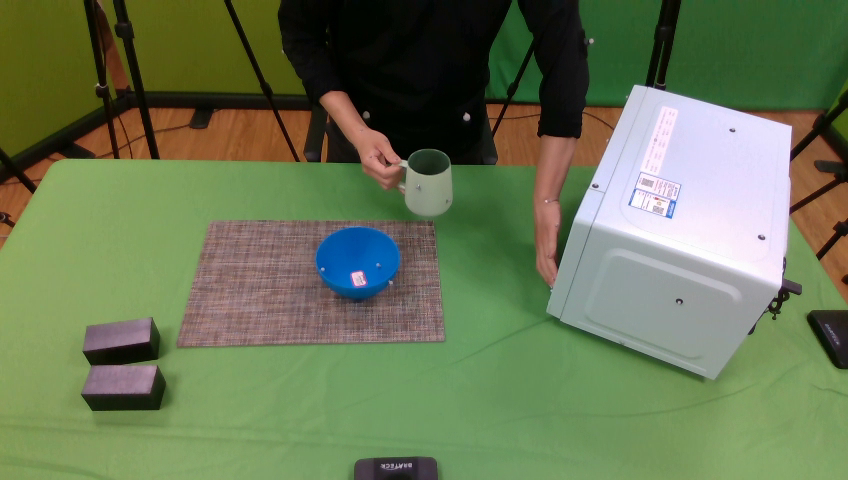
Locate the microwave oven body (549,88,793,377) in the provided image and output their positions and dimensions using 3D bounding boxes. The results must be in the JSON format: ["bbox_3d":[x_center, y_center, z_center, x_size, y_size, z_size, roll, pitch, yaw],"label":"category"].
[{"bbox_3d":[0.456,-0.028,1.088,0.325,0.261,0.440,20,47,16],"label":"microwave oven body"}]

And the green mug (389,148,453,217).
[{"bbox_3d":[-0.008,-0.109,1.126,0.125,0.105,0.092,16,49,16],"label":"green mug"}]

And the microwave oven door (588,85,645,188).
[{"bbox_3d":[0.342,-0.107,1.149,0.039,0.245,0.354,20,48,15],"label":"microwave oven door"}]

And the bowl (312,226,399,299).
[{"bbox_3d":[-0.120,0.054,1.091,0.151,0.077,0.150,2,46,-2],"label":"bowl"}]

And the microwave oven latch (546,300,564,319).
[{"bbox_3d":[0.243,0.102,1.080,0.030,0.029,0.079,22,48,18],"label":"microwave oven latch"}]
